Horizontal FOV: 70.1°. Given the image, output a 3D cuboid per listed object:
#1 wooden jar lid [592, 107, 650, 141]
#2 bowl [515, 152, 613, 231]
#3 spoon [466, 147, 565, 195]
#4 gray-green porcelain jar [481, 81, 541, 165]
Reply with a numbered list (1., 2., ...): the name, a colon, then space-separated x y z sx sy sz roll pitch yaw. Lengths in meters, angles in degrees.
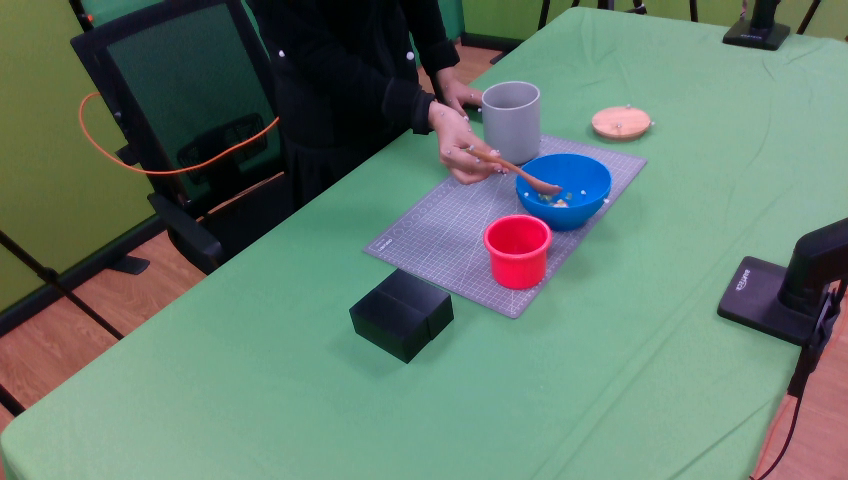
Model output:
1. wooden jar lid: 0.382 -0.225 1.178 0.108 0.021 0.108 -5 40 4
2. bowl: 0.224 -0.068 0.972 0.151 0.077 0.150 -5 40 5
3. spoon: 0.141 -0.106 0.926 0.041 0.195 0.021 -8 63 58
4. gray-green porcelain jar: 0.162 -0.211 1.116 0.106 0.127 0.105 -5 40 5
